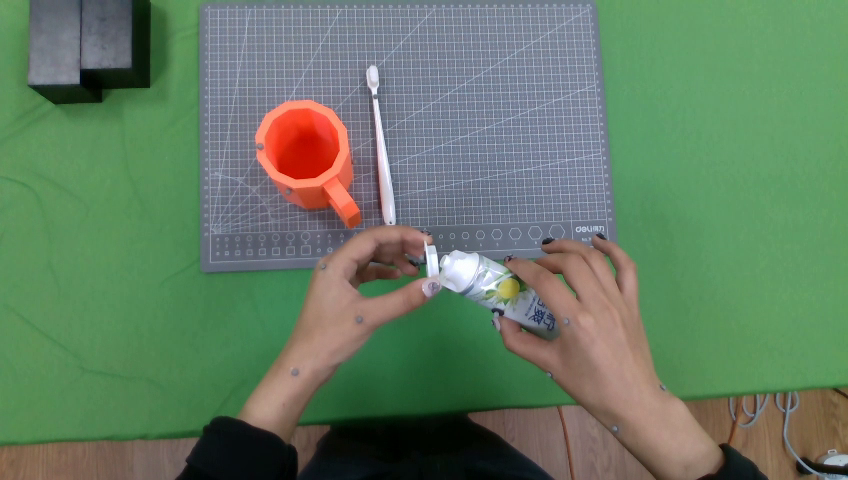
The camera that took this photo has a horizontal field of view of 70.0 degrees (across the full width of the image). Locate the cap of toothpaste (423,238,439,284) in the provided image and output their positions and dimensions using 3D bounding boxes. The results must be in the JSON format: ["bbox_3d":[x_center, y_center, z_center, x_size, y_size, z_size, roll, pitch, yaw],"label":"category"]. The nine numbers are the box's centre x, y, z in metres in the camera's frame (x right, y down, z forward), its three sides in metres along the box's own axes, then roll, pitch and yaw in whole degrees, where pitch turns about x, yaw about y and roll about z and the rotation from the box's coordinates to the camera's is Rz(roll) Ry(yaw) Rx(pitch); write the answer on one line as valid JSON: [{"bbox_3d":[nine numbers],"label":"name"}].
[{"bbox_3d":[0.005,0.016,0.468,0.011,0.037,0.037,-7,82,1],"label":"cap of toothpaste"}]

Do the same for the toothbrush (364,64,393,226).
[{"bbox_3d":[-0.048,-0.105,0.659,0.014,0.016,0.181,-5,84,-20],"label":"toothbrush"}]

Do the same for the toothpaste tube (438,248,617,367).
[{"bbox_3d":[0.082,0.051,0.491,0.166,0.034,0.055,25,92,-16],"label":"toothpaste tube"}]

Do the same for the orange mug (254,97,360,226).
[{"bbox_3d":[-0.107,-0.071,0.609,0.083,0.101,0.126,-37,82,-8],"label":"orange mug"}]
